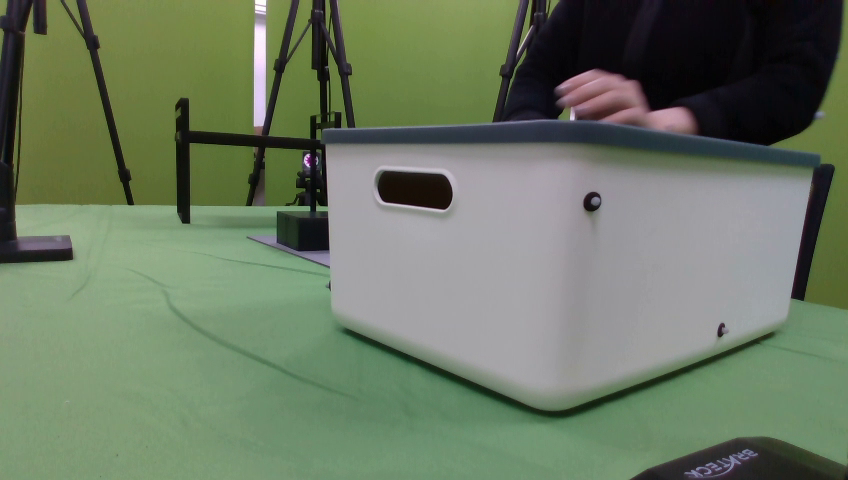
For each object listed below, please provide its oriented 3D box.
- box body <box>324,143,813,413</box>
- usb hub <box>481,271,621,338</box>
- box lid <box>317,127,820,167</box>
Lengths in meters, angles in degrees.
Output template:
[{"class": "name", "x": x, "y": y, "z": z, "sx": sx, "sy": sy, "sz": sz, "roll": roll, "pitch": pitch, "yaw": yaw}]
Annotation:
[{"class": "box body", "x": 0.125, "y": -0.001, "z": 0.510, "sx": 0.366, "sy": 0.160, "sz": 0.253, "roll": -4, "pitch": 10, "yaw": -40}, {"class": "usb hub", "x": 0.112, "y": 0.053, "z": 0.526, "sx": 0.126, "sy": 0.025, "sz": 0.049, "roll": -10, "pitch": 15, "yaw": -34}, {"class": "box lid", "x": 0.129, "y": -0.074, "z": 0.502, "sx": 0.374, "sy": 0.015, "sz": 0.262, "roll": -4, "pitch": 10, "yaw": -40}]
